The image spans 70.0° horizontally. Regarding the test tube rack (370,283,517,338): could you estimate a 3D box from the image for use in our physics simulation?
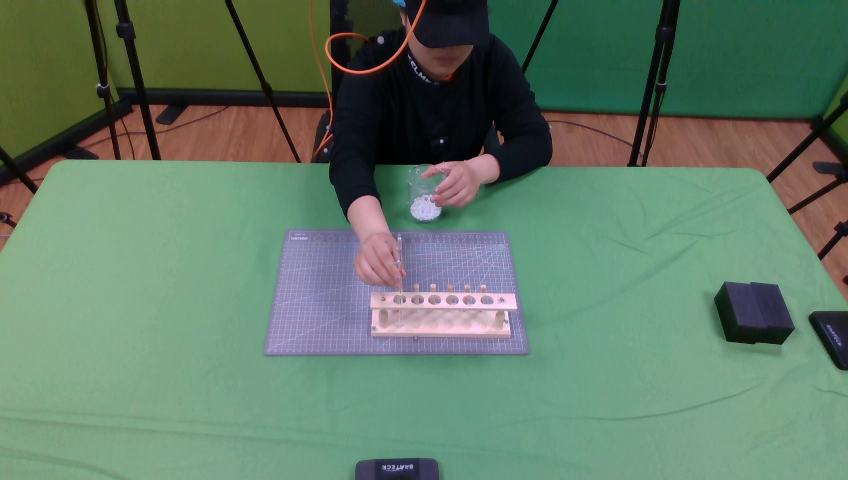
[{"bbox_3d":[0.030,0.117,1.041,0.242,0.085,0.066,1,46,-3],"label":"test tube rack"}]

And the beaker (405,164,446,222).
[{"bbox_3d":[0.004,-0.093,1.221,0.084,0.101,0.073,-15,51,-13],"label":"beaker"}]

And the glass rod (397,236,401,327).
[{"bbox_3d":[-0.041,0.071,0.978,0.008,0.200,0.008,1,40,-1],"label":"glass rod"}]
